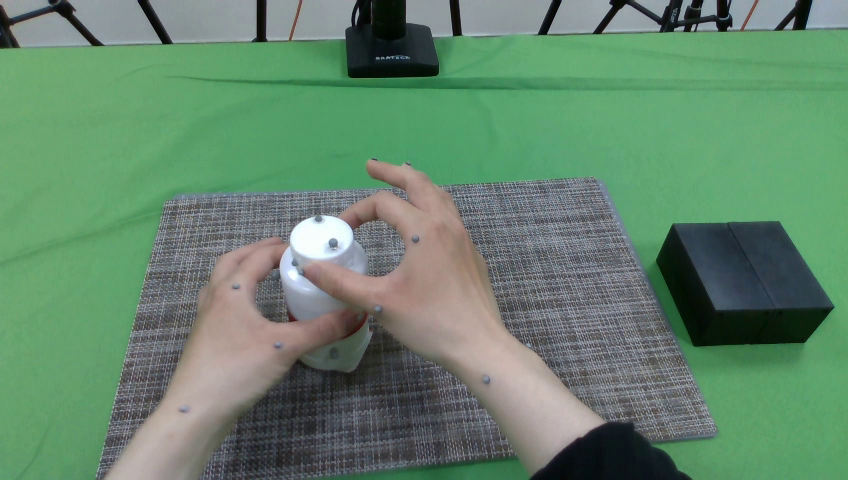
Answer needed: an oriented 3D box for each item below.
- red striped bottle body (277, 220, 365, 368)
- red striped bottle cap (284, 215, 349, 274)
[{"bbox_3d":[-0.076,0.039,0.456,0.063,0.120,0.062,3,47,-3],"label":"red striped bottle body"},{"bbox_3d":[-0.074,0.002,0.418,0.044,0.018,0.044,8,42,-7],"label":"red striped bottle cap"}]
